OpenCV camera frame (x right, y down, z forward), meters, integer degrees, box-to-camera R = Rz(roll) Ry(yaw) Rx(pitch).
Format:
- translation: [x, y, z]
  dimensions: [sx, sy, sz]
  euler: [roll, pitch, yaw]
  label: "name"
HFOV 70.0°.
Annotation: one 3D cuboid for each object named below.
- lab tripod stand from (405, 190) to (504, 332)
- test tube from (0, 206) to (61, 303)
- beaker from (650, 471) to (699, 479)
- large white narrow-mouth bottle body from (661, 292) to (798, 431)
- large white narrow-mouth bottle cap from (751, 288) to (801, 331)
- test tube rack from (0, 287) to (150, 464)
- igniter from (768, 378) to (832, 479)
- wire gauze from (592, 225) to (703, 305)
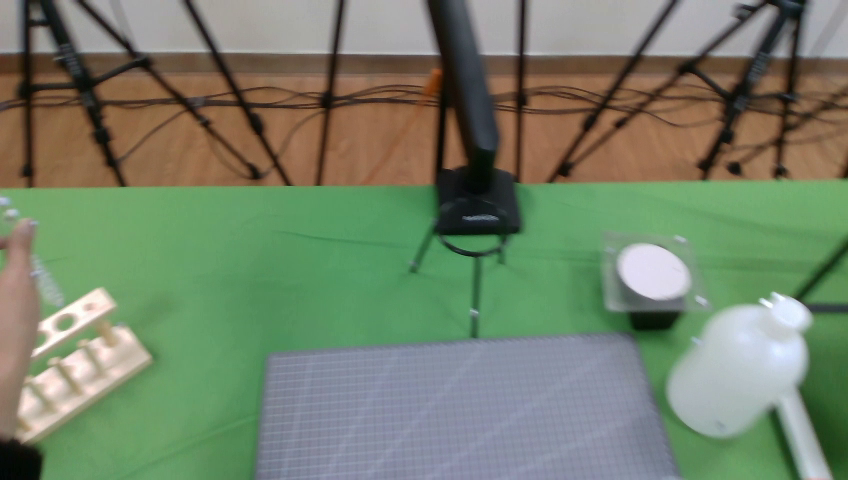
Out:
- translation: [0.047, 0.018, 0.742]
  dimensions: [0.148, 0.132, 0.147]
  euler: [3, 52, -3]
  label: "lab tripod stand"
- translation: [-0.323, 0.009, 0.483]
  dimensions: [0.017, 0.151, 0.017]
  euler: [5, 54, -6]
  label: "test tube"
- translation: [0.222, 0.271, 0.570]
  dimensions: [0.084, 0.101, 0.073]
  euler: [2, 51, -1]
  label: "beaker"
- translation: [0.328, 0.120, 0.639]
  dimensions: [0.102, 0.196, 0.101]
  euler: [1, 51, -1]
  label: "large white narrow-mouth bottle body"
- translation: [0.332, 0.065, 0.572]
  dimensions: [0.038, 0.024, 0.037]
  euler: [2, 51, -2]
  label: "large white narrow-mouth bottle cap"
- translation: [-0.425, 0.160, 0.631]
  dimensions: [0.066, 0.086, 0.242]
  euler: [39, 59, 24]
  label: "test tube rack"
- translation: [0.416, 0.261, 0.640]
  dimensions: [0.057, 0.025, 0.274]
  euler: [8, 51, -10]
  label: "igniter"
- translation: [0.277, 0.031, 0.763]
  dimensions: [0.121, 0.011, 0.124]
  euler: [3, 51, -1]
  label: "wire gauze"
